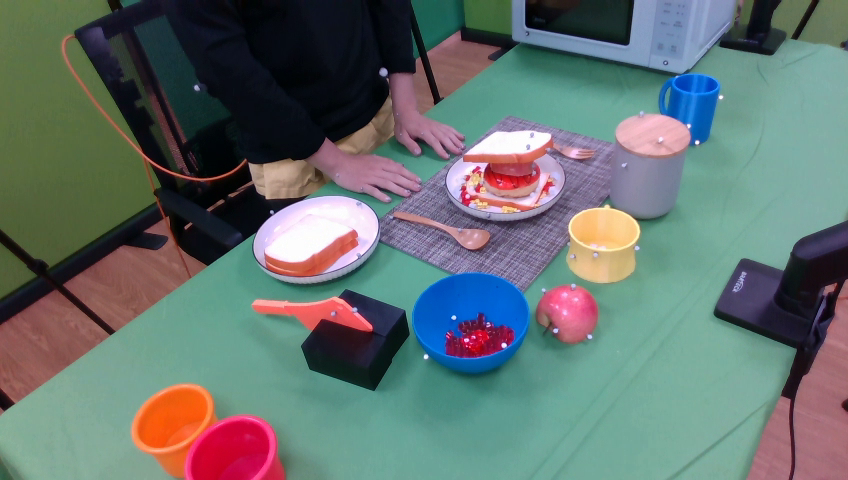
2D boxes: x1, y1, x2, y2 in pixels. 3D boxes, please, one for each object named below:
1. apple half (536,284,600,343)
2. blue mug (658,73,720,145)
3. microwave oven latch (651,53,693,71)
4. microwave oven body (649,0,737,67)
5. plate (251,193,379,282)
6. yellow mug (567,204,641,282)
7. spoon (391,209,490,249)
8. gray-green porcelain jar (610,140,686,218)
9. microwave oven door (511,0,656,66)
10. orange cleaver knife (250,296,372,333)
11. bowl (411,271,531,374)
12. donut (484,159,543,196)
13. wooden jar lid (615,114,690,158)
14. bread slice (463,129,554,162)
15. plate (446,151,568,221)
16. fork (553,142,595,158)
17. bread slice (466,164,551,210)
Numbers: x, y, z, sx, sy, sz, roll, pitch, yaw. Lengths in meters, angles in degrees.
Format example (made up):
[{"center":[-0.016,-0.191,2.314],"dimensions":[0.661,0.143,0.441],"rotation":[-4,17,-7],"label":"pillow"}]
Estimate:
[{"center":[0.196,0.090,0.815],"dimensions":[0.075,0.053,0.080],"rotation":[-22,42,-20],"label":"apple half"},{"center":[0.483,-0.250,1.127],"dimensions":[0.082,0.106,0.115],"rotation":[-25,44,-19],"label":"blue mug"},{"center":[0.531,-0.387,1.301],"dimensions":[0.078,0.029,0.030],"rotation":[27,52,34],"label":"microwave oven latch"},{"center":[0.475,-0.602,1.411],"dimensions":[0.438,0.261,0.327],"rotation":[23,50,32],"label":"microwave oven body"},{"center":[-0.174,-0.001,0.985],"dimensions":[0.209,0.038,0.208],"rotation":[-4,41,4],"label":"plate"},{"center":[0.268,-0.005,0.905],"dimensions":[0.099,0.064,0.130],"rotation":[7,42,15],"label":"yellow mug"},{"center":[0.023,-0.025,0.989],"dimensions":[0.192,0.022,0.041],"rotation":[21,69,28],"label":"spoon"},{"center":[0.354,-0.106,0.964],"dimensions":[0.106,0.127,0.105],"rotation":[-4,41,4],"label":"gray-green porcelain jar"},{"center":[0.351,-0.539,1.349],"dimensions":[0.353,0.245,0.039],"rotation":[24,50,31],"label":"microwave oven door"},{"center":[-0.159,0.103,0.828],"dimensions":[0.210,0.078,0.012],"rotation":[-4,43,39],"label":"orange cleaver knife"},{"center":[0.062,0.119,0.780],"dimensions":[0.151,0.077,0.150],"rotation":[-4,40,4],"label":"bowl"},{"center":[0.151,-0.112,1.019],"dimensions":[0.099,0.048,0.098],"rotation":[-4,40,4],"label":"donut"},{"center":[0.347,-0.155,0.923],"dimensions":[0.108,0.021,0.108],"rotation":[-3,44,4],"label":"wooden jar lid"},{"center":[0.143,-0.154,0.974],"dimensions":[0.130,0.019,0.105],"rotation":[9,35,38],"label":"bread slice"},{"center":[0.143,-0.097,1.045],"dimensions":[0.207,0.039,0.206],"rotation":[-4,40,4],"label":"plate"},{"center":[0.225,-0.186,1.151],"dimensions":[0.206,0.019,0.028],"rotation":[21,59,27],"label":"fork"},{"center":[0.141,-0.093,1.042],"dimensions":[0.133,0.018,0.107],"rotation":[10,42,19],"label":"bread slice"}]
